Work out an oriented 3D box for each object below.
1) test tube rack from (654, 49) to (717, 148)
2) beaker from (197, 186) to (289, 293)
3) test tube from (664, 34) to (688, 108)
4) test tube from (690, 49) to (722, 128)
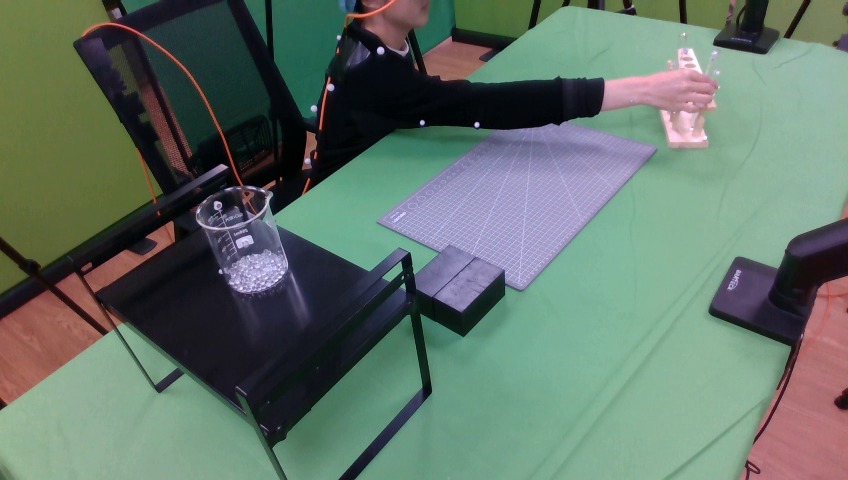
[{"bbox_3d":[0.502,-0.281,1.176,0.066,0.085,0.241,2,41,11],"label":"test tube rack"},{"bbox_3d":[-0.192,0.001,0.666,0.084,0.101,0.073,-33,47,-27],"label":"beaker"},{"bbox_3d":[0.483,-0.322,1.159,0.017,0.151,0.017,-3,42,3],"label":"test tube"},{"bbox_3d":[0.506,-0.269,1.086,0.017,0.151,0.017,0,41,1],"label":"test tube"}]
